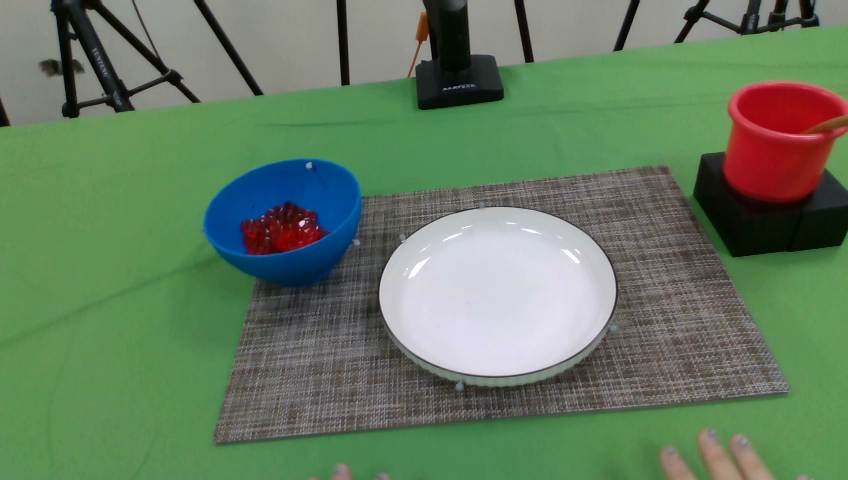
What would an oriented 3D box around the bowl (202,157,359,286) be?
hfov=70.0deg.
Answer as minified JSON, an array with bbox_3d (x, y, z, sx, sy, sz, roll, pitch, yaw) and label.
[{"bbox_3d":[-0.132,-0.008,0.601,0.151,0.077,0.150,-5,42,5],"label":"bowl"}]

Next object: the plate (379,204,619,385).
[{"bbox_3d":[0.065,0.046,0.541,0.207,0.039,0.205,-5,42,5],"label":"plate"}]

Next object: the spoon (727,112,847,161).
[{"bbox_3d":[0.326,-0.090,0.497,0.042,0.021,0.193,-22,-1,-13],"label":"spoon"}]
